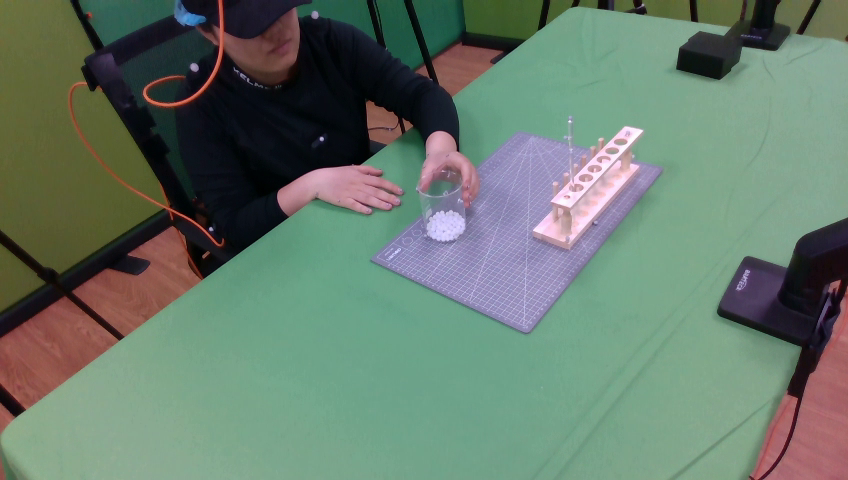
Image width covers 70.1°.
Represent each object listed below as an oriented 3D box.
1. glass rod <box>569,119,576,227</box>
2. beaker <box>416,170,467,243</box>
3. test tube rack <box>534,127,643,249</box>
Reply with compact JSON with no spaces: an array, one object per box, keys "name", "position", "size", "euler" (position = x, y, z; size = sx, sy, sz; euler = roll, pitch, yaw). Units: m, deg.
[{"name":"glass rod","position":[0.218,-0.093,0.893],"size":[0.008,0.201,0.008],"euler":[-8,43,8]},{"name":"beaker","position":[0.032,-0.054,0.976],"size":[0.073,0.101,0.084],"euler":[9,43,20]},{"name":"test tube rack","position":[0.271,-0.094,0.989],"size":[0.066,0.085,0.243],"euler":[23,50,33]}]
